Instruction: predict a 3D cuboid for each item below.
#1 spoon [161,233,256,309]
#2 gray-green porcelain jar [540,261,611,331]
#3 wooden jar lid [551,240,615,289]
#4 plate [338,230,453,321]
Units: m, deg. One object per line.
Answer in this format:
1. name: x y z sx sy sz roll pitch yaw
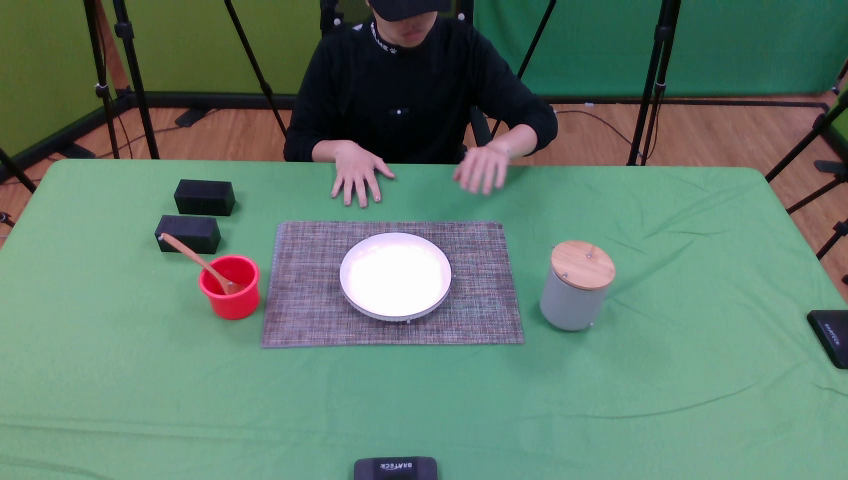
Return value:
1. spoon: -0.366 0.051 1.036 0.194 0.021 0.041 47 45 -21
2. gray-green porcelain jar: 0.262 0.088 1.058 0.106 0.127 0.105 2 46 -2
3. wooden jar lid: 0.263 0.044 1.011 0.108 0.021 0.107 4 45 -4
4. plate: -0.052 0.068 1.111 0.208 0.039 0.206 2 46 -2
